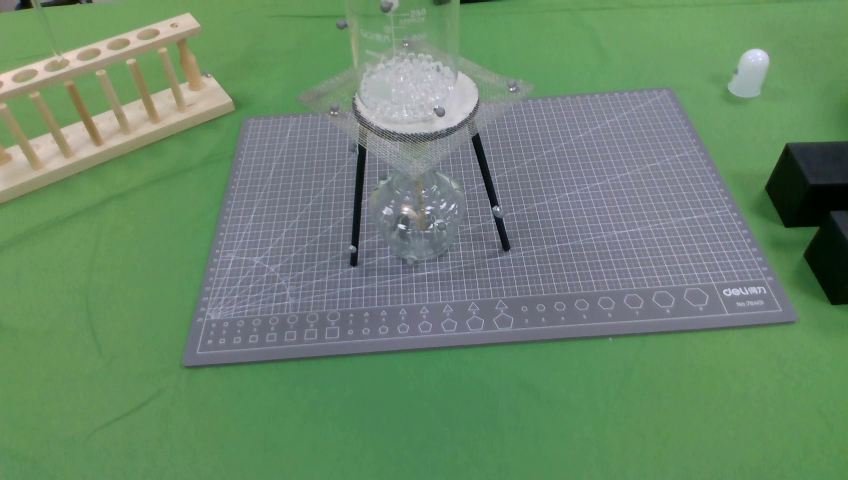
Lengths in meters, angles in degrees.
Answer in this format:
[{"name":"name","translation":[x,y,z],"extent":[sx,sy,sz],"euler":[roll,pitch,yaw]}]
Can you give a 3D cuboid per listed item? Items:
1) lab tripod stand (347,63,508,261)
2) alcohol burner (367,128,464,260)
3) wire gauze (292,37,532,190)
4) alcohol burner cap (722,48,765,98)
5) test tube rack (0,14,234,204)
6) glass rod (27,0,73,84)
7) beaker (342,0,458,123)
[{"name":"lab tripod stand","translation":[-0.001,-0.057,0.472],"extent":[0.148,0.133,0.147],"euler":[-1,47,1]},{"name":"alcohol burner","translation":[-0.007,-0.039,0.470],"extent":[0.078,0.120,0.077],"euler":[-1,50,1]},{"name":"wire gauze","translation":[-0.008,-0.099,0.421],"extent":[0.124,0.011,0.121],"euler":[37,60,27]},{"name":"alcohol burner cap","translation":[0.331,-0.174,0.622],"extent":[0.034,0.048,0.033],"euler":[-1,47,2]},{"name":"test tube rack","translation":[-0.323,-0.132,0.594],"extent":[0.242,0.086,0.066],"euler":[-28,52,-20]},{"name":"glass rod","translation":[-0.336,-0.176,0.545],"extent":[0.008,0.201,0.008],"euler":[2,48,-2]},{"name":"beaker","translation":[-0.017,-0.133,0.386],"extent":[0.084,0.101,0.073],"euler":[11,49,12]}]
